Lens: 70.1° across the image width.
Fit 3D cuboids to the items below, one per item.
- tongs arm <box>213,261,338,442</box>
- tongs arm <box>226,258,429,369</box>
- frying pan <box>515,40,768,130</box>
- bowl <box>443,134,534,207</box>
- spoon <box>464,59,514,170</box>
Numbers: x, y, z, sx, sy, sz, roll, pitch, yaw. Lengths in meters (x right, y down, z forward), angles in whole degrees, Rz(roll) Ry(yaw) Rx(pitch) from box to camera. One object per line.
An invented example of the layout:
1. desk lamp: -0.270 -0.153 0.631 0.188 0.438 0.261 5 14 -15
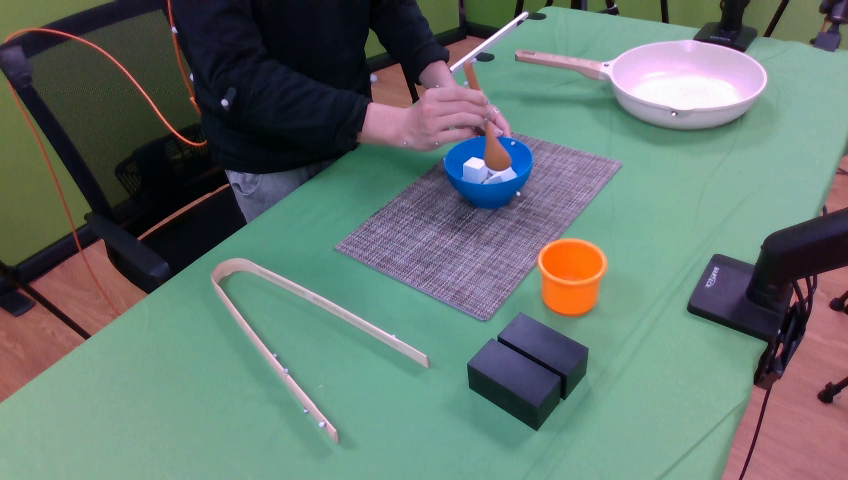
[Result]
1. tongs arm: -0.208 0.136 0.830 0.051 0.026 0.381 -31 45 -28
2. tongs arm: -0.150 0.098 0.873 0.384 0.028 0.028 22 50 30
3. frying pan: 0.423 -0.337 1.236 0.486 0.103 0.307 16 44 13
4. bowl: 0.111 -0.108 1.029 0.151 0.077 0.150 -4 41 4
5. spoon: 0.085 -0.166 0.834 0.041 0.195 0.021 -7 44 21
